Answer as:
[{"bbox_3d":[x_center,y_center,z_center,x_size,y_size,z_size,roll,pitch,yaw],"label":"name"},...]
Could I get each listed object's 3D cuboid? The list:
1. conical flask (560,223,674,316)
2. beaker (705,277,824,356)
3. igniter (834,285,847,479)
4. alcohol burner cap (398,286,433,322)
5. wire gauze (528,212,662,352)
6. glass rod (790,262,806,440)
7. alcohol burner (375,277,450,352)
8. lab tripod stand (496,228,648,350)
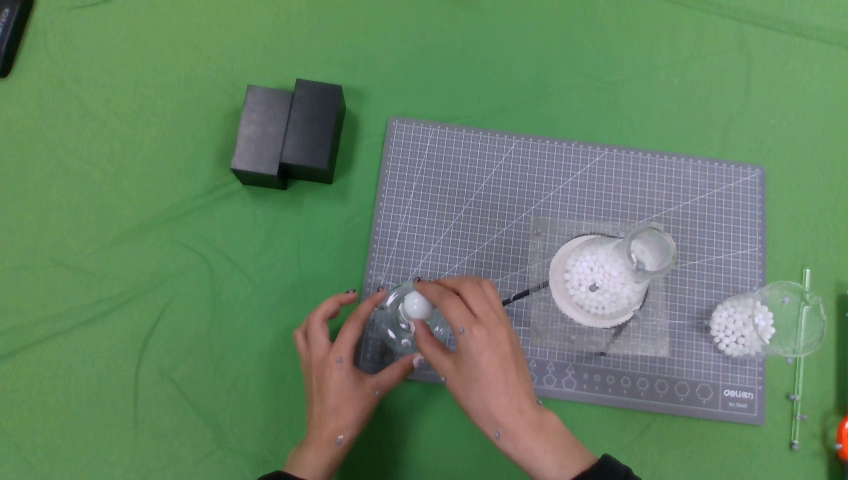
[{"bbox_3d":[0.159,0.018,0.489,0.075,0.122,0.075,0,77,-1],"label":"conical flask"},{"bbox_3d":[0.348,0.081,0.628,0.084,0.100,0.073,-29,80,-9],"label":"beaker"},{"bbox_3d":[0.467,0.183,0.650,0.057,0.025,0.275,12,77,-9],"label":"igniter"},{"bbox_3d":[-0.006,0.056,0.550,0.034,0.048,0.033,1,77,-6],"label":"alcohol burner cap"},{"bbox_3d":[0.155,0.036,0.546,0.125,0.011,0.121,4,79,-3],"label":"wire gauze"},{"bbox_3d":[0.416,0.120,0.672,0.008,0.008,0.199,12,77,0],"label":"glass rod"},{"bbox_3d":[-0.011,0.072,0.608,0.078,0.119,0.077,1,75,-3],"label":"alcohol burner"},{"bbox_3d":[0.153,0.049,0.610,0.148,0.132,0.147,0,79,-1],"label":"lab tripod stand"}]
